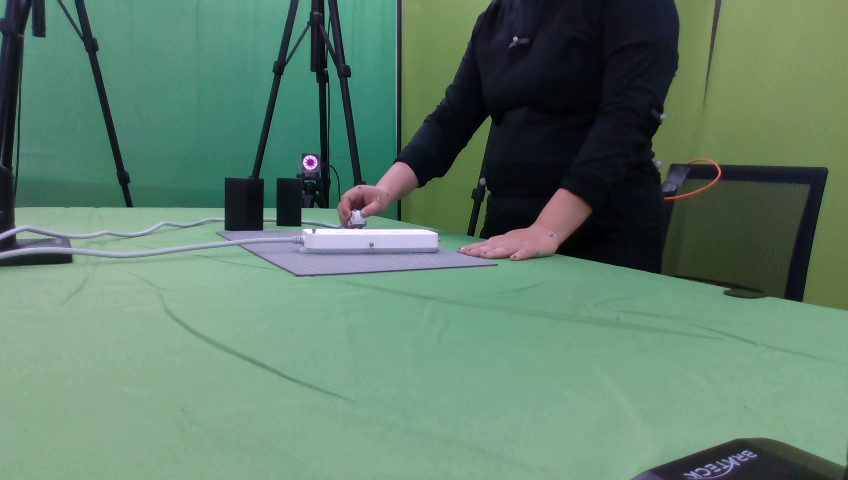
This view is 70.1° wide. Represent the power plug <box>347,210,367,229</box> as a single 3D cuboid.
[{"bbox_3d":[-0.123,-0.028,1.128,0.035,0.052,0.072,-4,-8,1],"label":"power plug"}]

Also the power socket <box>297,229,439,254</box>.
[{"bbox_3d":[-0.084,0.001,0.941,0.228,0.032,0.072,0,7,-20],"label":"power socket"}]
